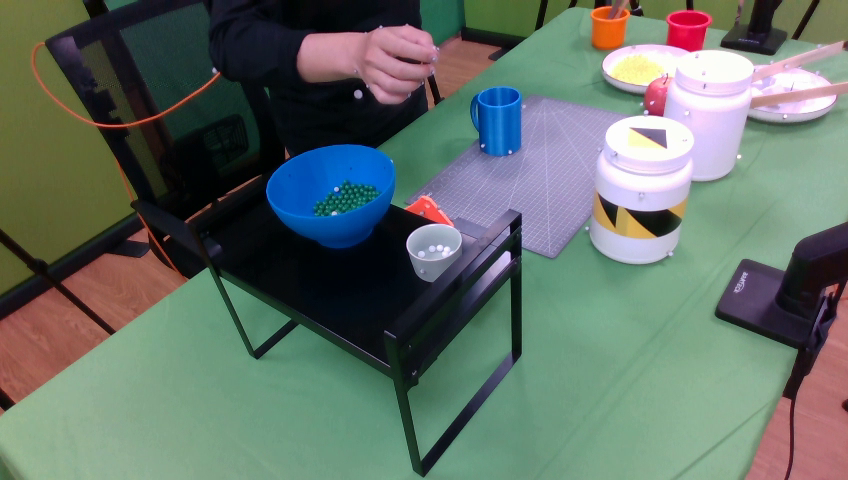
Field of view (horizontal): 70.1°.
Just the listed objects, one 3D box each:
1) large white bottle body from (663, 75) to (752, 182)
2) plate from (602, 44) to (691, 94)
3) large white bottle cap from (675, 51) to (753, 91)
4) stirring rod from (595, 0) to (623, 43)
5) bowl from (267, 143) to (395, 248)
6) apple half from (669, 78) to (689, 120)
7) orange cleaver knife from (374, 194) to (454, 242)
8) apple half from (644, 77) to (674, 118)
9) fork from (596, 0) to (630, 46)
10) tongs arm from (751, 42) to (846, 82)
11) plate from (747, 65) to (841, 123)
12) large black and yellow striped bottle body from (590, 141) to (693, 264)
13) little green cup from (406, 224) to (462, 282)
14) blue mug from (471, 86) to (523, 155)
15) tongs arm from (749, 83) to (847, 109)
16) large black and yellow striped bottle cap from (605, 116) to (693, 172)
[{"bbox_3d":[0.472,-0.207,1.022,0.130,0.185,0.130,-4,41,4],"label":"large white bottle body"},{"bbox_3d":[0.495,-0.367,1.317,0.209,0.038,0.208,-4,40,4],"label":"plate"},{"bbox_3d":[0.463,-0.271,0.967,0.115,0.018,0.114,-4,40,3],"label":"large white bottle cap"},{"bbox_3d":[0.460,-0.556,1.460,0.014,0.006,0.176,30,94,23],"label":"stirring rod"},{"bbox_3d":[-0.104,-0.043,0.726,0.151,0.077,0.150,-4,40,4],"label":"bowl"},{"bbox_3d":[0.498,-0.273,1.180,0.032,0.082,0.081,7,42,25],"label":"apple half"},{"bbox_3d":[-0.032,-0.026,0.964,0.210,0.077,0.012,-9,29,51],"label":"orange cleaver knife"},{"bbox_3d":[0.463,-0.279,1.194,0.053,0.075,0.081,8,46,24],"label":"apple half"},{"bbox_3d":[0.481,-0.556,1.453,0.028,0.019,0.207,40,103,40],"label":"fork"},{"bbox_3d":[0.708,-0.331,1.193,0.386,0.026,0.050,-18,45,-16],"label":"tongs arm"},{"bbox_3d":[0.694,-0.282,1.189,0.207,0.039,0.206,-4,40,4],"label":"plate"},{"bbox_3d":[0.317,-0.071,0.889,0.131,0.185,0.130,-4,41,4],"label":"large black and yellow striped bottle body"},{"bbox_3d":[0.012,0.015,0.668,0.061,0.039,0.061,-4,40,4],"label":"little green cup"},{"bbox_3d":[0.135,-0.235,1.163,0.082,0.106,0.115,-36,48,-29],"label":"blue mug"},{"bbox_3d":[0.734,-0.280,1.133,0.388,0.028,0.028,-9,47,-5],"label":"tongs arm"},{"bbox_3d":[0.309,-0.134,0.833,0.115,0.019,0.114,-5,40,5],"label":"large black and yellow striped bottle cap"}]
